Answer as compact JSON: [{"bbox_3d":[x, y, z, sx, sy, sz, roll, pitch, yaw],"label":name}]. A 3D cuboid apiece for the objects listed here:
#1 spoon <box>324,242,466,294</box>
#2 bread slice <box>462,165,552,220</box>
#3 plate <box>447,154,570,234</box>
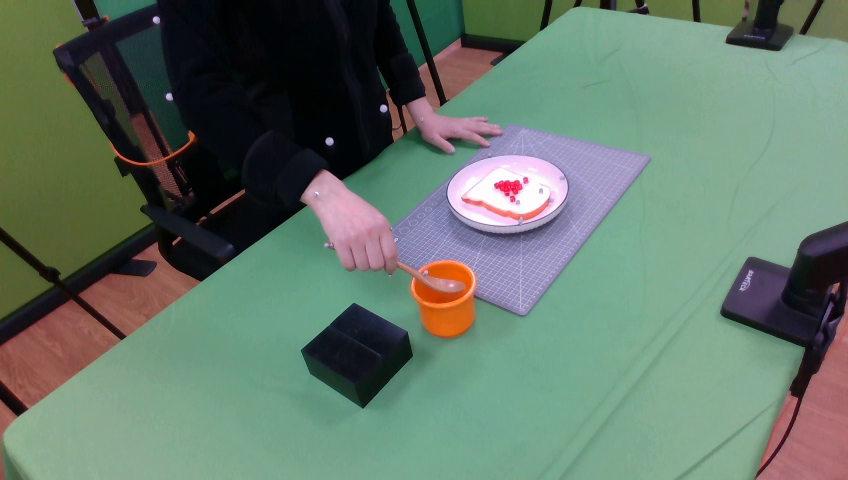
[{"bbox_3d":[-0.035,0.034,0.779,0.195,0.021,0.041,23,14,-14],"label":"spoon"},{"bbox_3d":[0.149,-0.080,1.036,0.133,0.018,0.107,22,50,31],"label":"bread slice"},{"bbox_3d":[0.143,-0.076,1.032,0.209,0.038,0.208,-5,40,5],"label":"plate"}]
